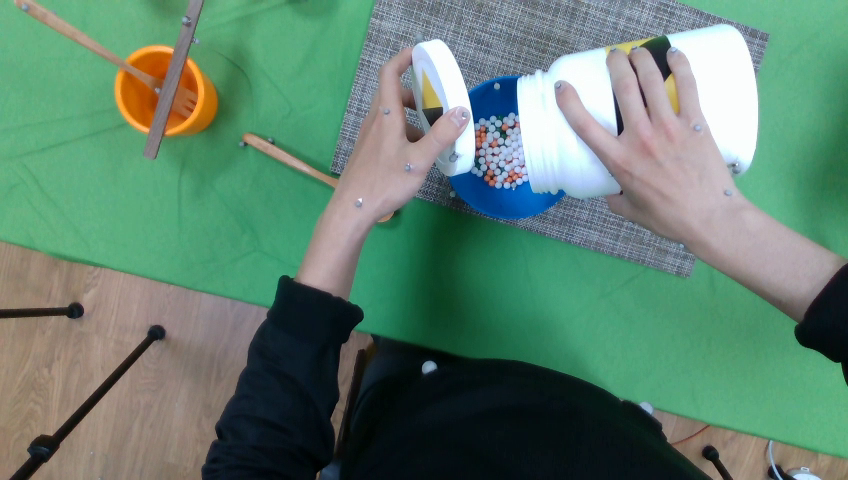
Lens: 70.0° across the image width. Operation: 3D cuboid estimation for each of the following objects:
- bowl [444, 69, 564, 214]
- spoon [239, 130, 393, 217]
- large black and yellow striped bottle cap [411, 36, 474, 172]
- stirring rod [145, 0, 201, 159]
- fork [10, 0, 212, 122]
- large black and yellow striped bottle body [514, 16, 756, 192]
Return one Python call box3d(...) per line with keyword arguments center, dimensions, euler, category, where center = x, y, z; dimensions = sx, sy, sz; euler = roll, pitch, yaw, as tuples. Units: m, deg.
box3d(center=(0.088, -0.105, 0.671), dimensions=(0.151, 0.076, 0.151), euler=(0, 96, -2), category="bowl")
box3d(center=(-0.124, -0.081, 0.695), dimensions=(0.194, 0.021, 0.042), euler=(27, 108, -6), category="spoon")
box3d(center=(0.014, -0.116, 0.522), dimensions=(0.019, 0.114, 0.115), euler=(-16, 96, -12), category="large black and yellow striped bottle cap")
box3d(center=(-0.254, -0.168, 0.614), dimensions=(0.014, 0.006, 0.176), euler=(17, 95, -3), category="stirring rod")
box3d(center=(-0.307, -0.180, 0.613), dimensions=(0.028, 0.018, 0.209), euler=(-52, 139, 5), category="fork")
box3d(center=(0.179, -0.114, 0.540), dimensions=(0.183, 0.131, 0.131), euler=(-7, 96, 14), category="large black and yellow striped bottle body")
